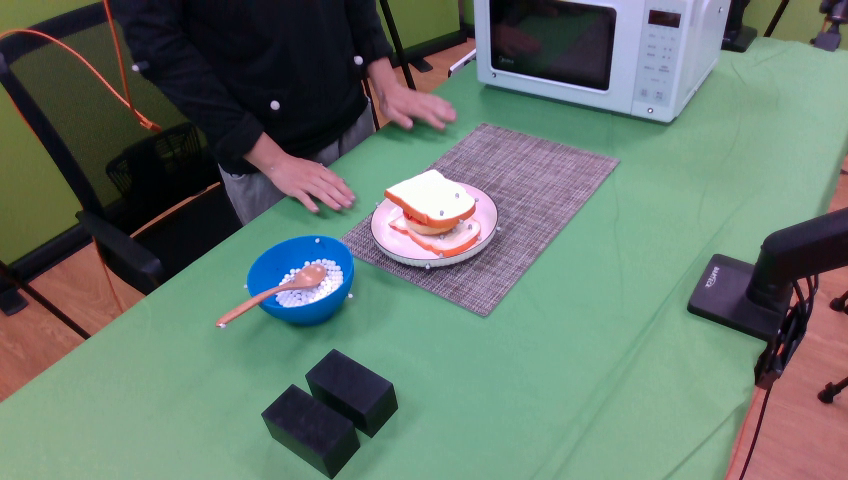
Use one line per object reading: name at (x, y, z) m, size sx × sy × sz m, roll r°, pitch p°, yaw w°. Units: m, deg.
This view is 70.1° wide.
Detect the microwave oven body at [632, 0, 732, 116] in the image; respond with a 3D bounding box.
microwave oven body at (0.377, -0.462, 1.267) m, size 0.438 × 0.261 × 0.327 m, roll 21°, pitch 48°, yaw 30°

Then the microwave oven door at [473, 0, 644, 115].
microwave oven door at (0.257, -0.396, 1.199) m, size 0.353 × 0.245 × 0.039 m, roll 21°, pitch 48°, yaw 29°

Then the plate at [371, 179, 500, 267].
plate at (0.020, -0.025, 0.977) m, size 0.207 × 0.039 × 0.206 m, roll -4°, pitch 40°, yaw 4°

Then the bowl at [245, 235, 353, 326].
bowl at (-0.171, 0.070, 0.868) m, size 0.151 × 0.077 × 0.150 m, roll -4°, pitch 41°, yaw 4°

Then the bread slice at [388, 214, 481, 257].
bread slice at (0.026, -0.023, 0.973) m, size 0.107 × 0.018 × 0.133 m, roll -36°, pitch 49°, yaw -28°

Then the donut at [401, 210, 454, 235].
donut at (0.013, -0.047, 0.957) m, size 0.099 × 0.048 × 0.098 m, roll -8°, pitch 40°, yaw 7°

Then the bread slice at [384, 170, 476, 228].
bread slice at (0.017, -0.064, 0.935) m, size 0.105 × 0.019 × 0.130 m, roll -27°, pitch 46°, yaw -30°

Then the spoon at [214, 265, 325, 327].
spoon at (-0.207, 0.073, 0.821) m, size 0.041 × 0.021 × 0.195 m, roll 22°, pitch 27°, yaw 26°

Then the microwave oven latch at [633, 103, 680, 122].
microwave oven latch at (0.444, -0.249, 1.157) m, size 0.078 × 0.029 × 0.030 m, roll 21°, pitch 48°, yaw 30°
